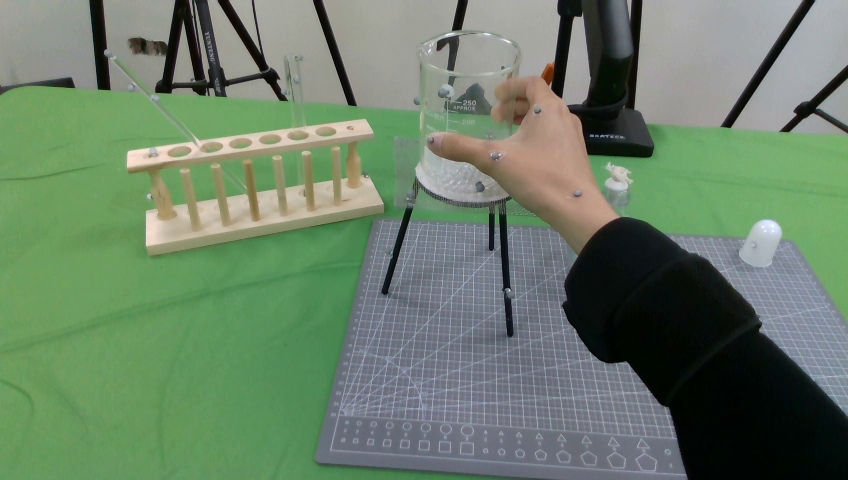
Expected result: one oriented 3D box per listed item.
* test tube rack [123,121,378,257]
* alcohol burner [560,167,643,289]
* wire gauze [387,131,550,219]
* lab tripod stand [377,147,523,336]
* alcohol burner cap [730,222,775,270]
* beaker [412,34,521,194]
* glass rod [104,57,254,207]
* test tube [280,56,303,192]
[{"bbox_3d":[-0.174,-0.057,0.636,0.243,0.086,0.066,-11,40,-17],"label":"test tube rack"},{"bbox_3d":[0.168,-0.014,0.567,0.078,0.120,0.077,0,36,0],"label":"alcohol burner"},{"bbox_3d":[0.031,-0.056,0.489,0.125,0.011,0.120,-1,38,-2],"label":"wire gauze"},{"bbox_3d":[0.030,-0.003,0.530,0.148,0.132,0.147,0,40,0],"label":"lab tripod stand"},{"bbox_3d":[0.333,0.003,0.611,0.034,0.048,0.033,1,38,-1],"label":"alcohol burner cap"},{"bbox_3d":[0.026,-0.093,0.454,0.083,0.101,0.074,25,46,25],"label":"beaker"},{"bbox_3d":[-0.232,-0.097,0.593,0.008,0.202,0.008,-19,43,19],"label":"glass rod"},{"bbox_3d":[-0.137,-0.116,0.633,0.017,0.151,0.017,2,35,-1],"label":"test tube"}]
